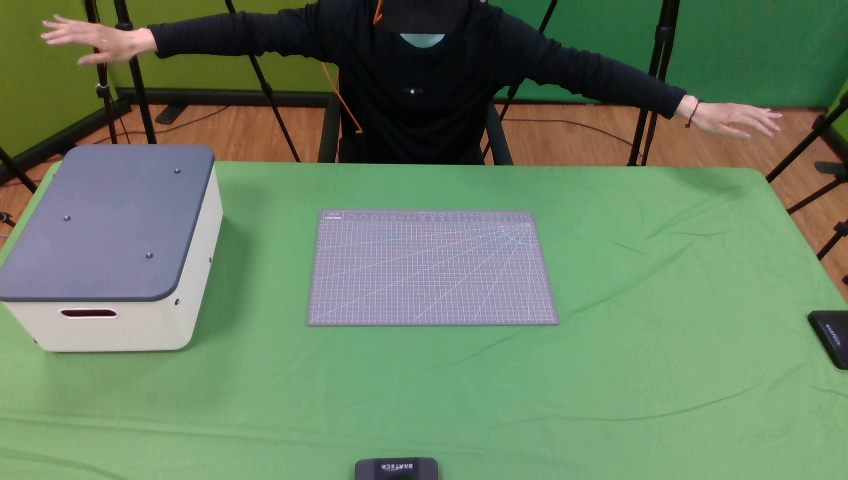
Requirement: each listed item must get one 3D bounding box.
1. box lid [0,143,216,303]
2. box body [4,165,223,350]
[{"bbox_3d":[-0.506,-0.045,1.002,0.263,0.015,0.369,0,46,-5],"label":"box lid"},{"bbox_3d":[-0.510,0.008,1.054,0.254,0.161,0.361,-1,46,-5],"label":"box body"}]
